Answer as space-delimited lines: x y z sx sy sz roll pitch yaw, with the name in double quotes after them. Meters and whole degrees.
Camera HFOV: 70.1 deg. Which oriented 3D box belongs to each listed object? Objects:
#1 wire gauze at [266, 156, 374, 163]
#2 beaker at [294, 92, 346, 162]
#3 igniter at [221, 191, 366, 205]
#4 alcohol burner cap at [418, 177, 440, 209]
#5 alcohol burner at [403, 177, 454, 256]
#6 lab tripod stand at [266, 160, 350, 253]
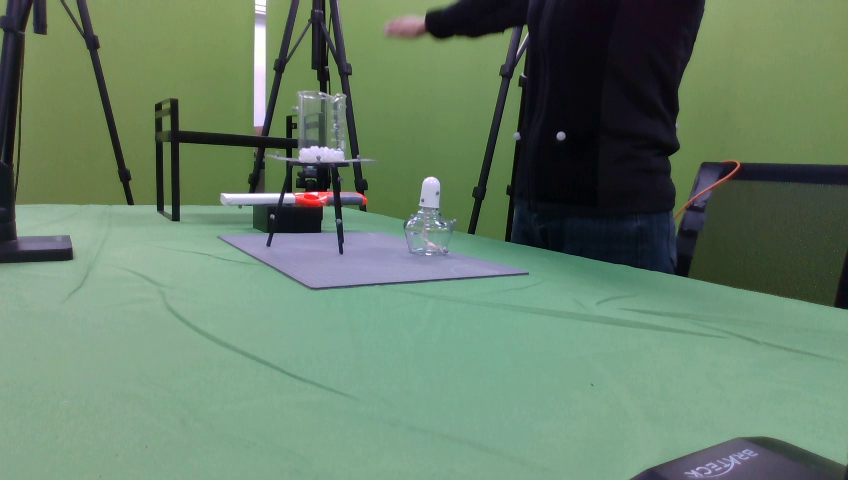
-0.154 -0.119 0.910 0.122 0.011 0.124 -4 8 -45 "wire gauze"
-0.152 -0.166 0.896 0.074 0.100 0.083 -4 10 -33 "beaker"
-0.240 -0.079 1.150 0.278 0.025 0.057 -3 20 -32 "igniter"
0.009 -0.071 0.909 0.034 0.048 0.034 5 9 0 "alcohol burner cap"
0.007 -0.036 0.915 0.078 0.119 0.078 4 6 0 "alcohol burner"
-0.163 -0.054 0.914 0.148 0.131 0.148 2 9 0 "lab tripod stand"
